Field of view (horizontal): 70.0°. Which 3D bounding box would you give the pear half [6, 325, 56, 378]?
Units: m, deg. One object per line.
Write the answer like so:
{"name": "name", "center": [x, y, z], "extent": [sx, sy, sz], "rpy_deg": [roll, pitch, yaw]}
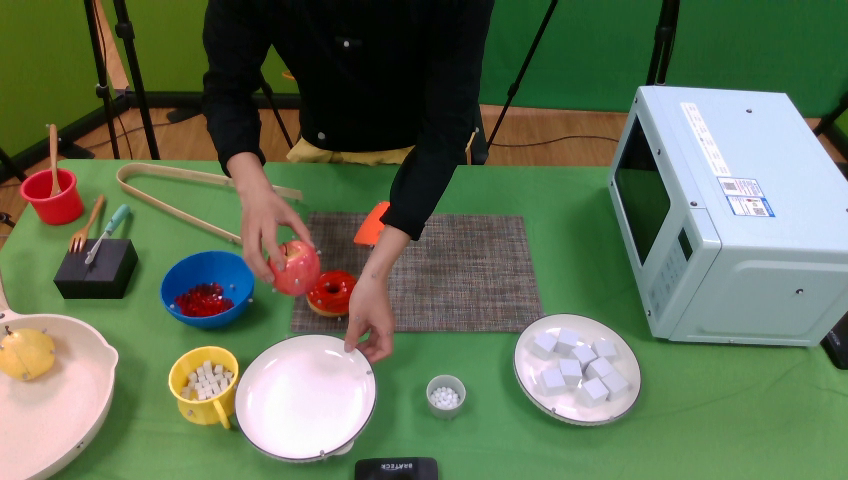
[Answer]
{"name": "pear half", "center": [-0.608, 0.158, 0.935], "extent": [0.076, 0.110, 0.056], "rpy_deg": [31, 51, 20]}

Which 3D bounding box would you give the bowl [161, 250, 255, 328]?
{"name": "bowl", "center": [-0.362, 0.098, 1.039], "extent": [0.151, 0.077, 0.150], "rpy_deg": [2, 45, -2]}

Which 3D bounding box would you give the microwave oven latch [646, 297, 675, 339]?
{"name": "microwave oven latch", "center": [0.412, 0.134, 1.061], "extent": [0.030, 0.029, 0.078], "rpy_deg": [4, 45, 1]}

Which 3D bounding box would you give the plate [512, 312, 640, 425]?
{"name": "plate", "center": [0.246, 0.213, 0.999], "extent": [0.208, 0.039, 0.206], "rpy_deg": [2, 46, -2]}

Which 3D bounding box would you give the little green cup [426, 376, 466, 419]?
{"name": "little green cup", "center": [0.033, 0.248, 0.950], "extent": [0.061, 0.039, 0.061], "rpy_deg": [2, 46, -2]}

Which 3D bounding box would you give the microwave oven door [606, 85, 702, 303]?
{"name": "microwave oven door", "center": [0.422, -0.094, 1.140], "extent": [0.039, 0.245, 0.353], "rpy_deg": [2, 46, -1]}

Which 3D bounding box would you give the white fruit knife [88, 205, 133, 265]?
{"name": "white fruit knife", "center": [-0.584, -0.013, 1.129], "extent": [0.016, 0.027, 0.206], "rpy_deg": [0, 31, -5]}

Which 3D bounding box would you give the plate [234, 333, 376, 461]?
{"name": "plate", "center": [-0.175, 0.235, 0.907], "extent": [0.209, 0.038, 0.208], "rpy_deg": [2, 46, -2]}

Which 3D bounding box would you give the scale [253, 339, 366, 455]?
{"name": "scale", "center": [-0.175, 0.237, 0.951], "extent": [0.149, 0.032, 0.199], "rpy_deg": [4, 46, 0]}

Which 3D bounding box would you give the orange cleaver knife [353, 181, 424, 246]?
{"name": "orange cleaver knife", "center": [-0.070, -0.059, 1.245], "extent": [0.077, 0.012, 0.210], "rpy_deg": [18, 50, 21]}

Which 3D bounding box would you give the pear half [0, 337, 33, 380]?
{"name": "pear half", "center": [-0.631, 0.184, 0.921], "extent": [0.070, 0.088, 0.031], "rpy_deg": [29, 49, 19]}

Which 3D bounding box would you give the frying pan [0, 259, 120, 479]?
{"name": "frying pan", "center": [-0.647, 0.164, 0.936], "extent": [0.307, 0.103, 0.485], "rpy_deg": [-19, 58, -22]}

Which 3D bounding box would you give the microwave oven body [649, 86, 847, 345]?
{"name": "microwave oven body", "center": [0.567, -0.053, 1.118], "extent": [0.326, 0.261, 0.439], "rpy_deg": [2, 45, -1]}

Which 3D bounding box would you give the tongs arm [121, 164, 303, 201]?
{"name": "tongs arm", "center": [-0.444, -0.114, 1.267], "extent": [0.384, 0.026, 0.050], "rpy_deg": [12, 50, 8]}

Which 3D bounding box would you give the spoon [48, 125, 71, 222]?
{"name": "spoon", "center": [-0.718, -0.131, 1.188], "extent": [0.041, 0.021, 0.193], "rpy_deg": [-3, 90, -7]}

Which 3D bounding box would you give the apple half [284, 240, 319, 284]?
{"name": "apple half", "center": [-0.184, 0.031, 0.942], "extent": [0.081, 0.081, 0.033], "rpy_deg": [36, 55, 27]}

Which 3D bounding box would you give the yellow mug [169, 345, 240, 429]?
{"name": "yellow mug", "center": [-0.323, 0.230, 0.922], "extent": [0.100, 0.064, 0.130], "rpy_deg": [-24, 53, -25]}

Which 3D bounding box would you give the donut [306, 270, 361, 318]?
{"name": "donut", "center": [-0.160, 0.095, 1.075], "extent": [0.099, 0.048, 0.098], "rpy_deg": [3, 44, -3]}

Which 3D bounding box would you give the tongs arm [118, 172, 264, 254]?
{"name": "tongs arm", "center": [-0.473, -0.055, 1.211], "extent": [0.386, 0.028, 0.028], "rpy_deg": [23, 56, 18]}

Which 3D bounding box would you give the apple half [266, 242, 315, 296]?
{"name": "apple half", "center": [-0.210, 0.050, 0.921], "extent": [0.080, 0.075, 0.053], "rpy_deg": [32, 53, 31]}

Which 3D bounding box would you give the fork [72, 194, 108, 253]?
{"name": "fork", "center": [-0.634, -0.036, 1.158], "extent": [0.028, 0.019, 0.206], "rpy_deg": [-7, 32, -9]}
